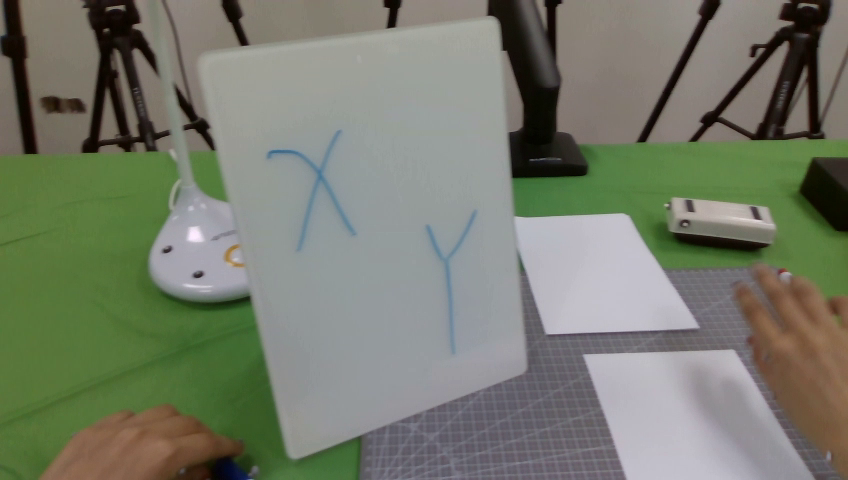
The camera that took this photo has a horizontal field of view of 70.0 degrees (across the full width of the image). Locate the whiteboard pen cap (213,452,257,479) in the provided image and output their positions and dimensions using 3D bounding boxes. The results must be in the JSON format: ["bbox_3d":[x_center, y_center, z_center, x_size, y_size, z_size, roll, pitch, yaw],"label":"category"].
[{"bbox_3d":[-0.140,0.172,0.449,0.033,0.018,0.018,21,40,32],"label":"whiteboard pen cap"}]

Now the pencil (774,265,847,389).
[{"bbox_3d":[0.377,0.086,0.581,0.012,0.012,0.192,3,37,4],"label":"pencil"}]

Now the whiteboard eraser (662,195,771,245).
[{"bbox_3d":[0.343,-0.023,0.715,0.112,0.042,0.055,8,37,10],"label":"whiteboard eraser"}]

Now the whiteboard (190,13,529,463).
[{"bbox_3d":[-0.051,-0.014,0.516,0.218,0.307,0.142,-15,19,-19],"label":"whiteboard"}]

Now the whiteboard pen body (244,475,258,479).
[{"bbox_3d":[-0.095,0.193,0.420,0.139,0.017,0.017,23,41,30],"label":"whiteboard pen body"}]

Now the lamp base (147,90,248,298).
[{"bbox_3d":[-0.230,-0.057,0.634,0.177,0.182,0.160,23,41,32],"label":"lamp base"}]
